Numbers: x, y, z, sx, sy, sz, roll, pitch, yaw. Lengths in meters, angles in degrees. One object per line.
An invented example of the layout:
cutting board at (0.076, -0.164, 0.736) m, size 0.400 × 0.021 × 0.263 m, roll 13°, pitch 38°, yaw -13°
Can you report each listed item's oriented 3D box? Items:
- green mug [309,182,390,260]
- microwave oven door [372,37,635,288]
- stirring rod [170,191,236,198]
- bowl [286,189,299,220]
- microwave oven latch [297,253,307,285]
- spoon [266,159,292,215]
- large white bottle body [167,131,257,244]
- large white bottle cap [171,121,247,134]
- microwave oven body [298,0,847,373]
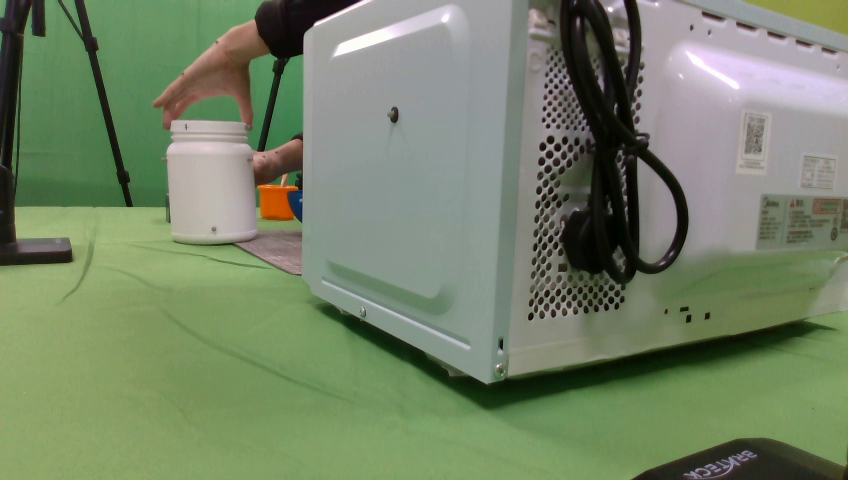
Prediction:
green mug at (-0.102, -0.029, 0.864) m, size 0.126 × 0.105 × 0.092 m, roll -3°, pitch 9°, yaw -40°
microwave oven door at (0.109, -0.080, 0.686) m, size 0.358 × 0.243 × 0.039 m, roll -2°, pitch 9°, yaw -33°
stirring rod at (-0.465, -0.098, 1.283) m, size 0.014 × 0.006 × 0.177 m, roll 42°, pitch 21°, yaw 17°
bowl at (-0.179, -0.051, 1.114) m, size 0.151 × 0.077 × 0.151 m, roll 3°, pitch 8°, yaw 0°
microwave oven latch at (-0.082, 0.027, 0.582) m, size 0.079 × 0.029 × 0.030 m, roll -1°, pitch 7°, yaw -32°
spoon at (-0.334, -0.127, 1.424) m, size 0.041 × 0.193 × 0.021 m, roll 2°, pitch -38°, yaw 5°
large white bottle body at (-0.341, -0.092, 0.977) m, size 0.131 × 0.184 × 0.130 m, roll 0°, pitch 8°, yaw 0°
large white bottle cap at (-0.341, -0.179, 0.964) m, size 0.115 × 0.018 × 0.115 m, roll 1°, pitch 10°, yaw 0°
microwave oven body at (0.151, -0.055, 0.542) m, size 0.444 × 0.260 × 0.324 m, roll -2°, pitch 7°, yaw -33°
